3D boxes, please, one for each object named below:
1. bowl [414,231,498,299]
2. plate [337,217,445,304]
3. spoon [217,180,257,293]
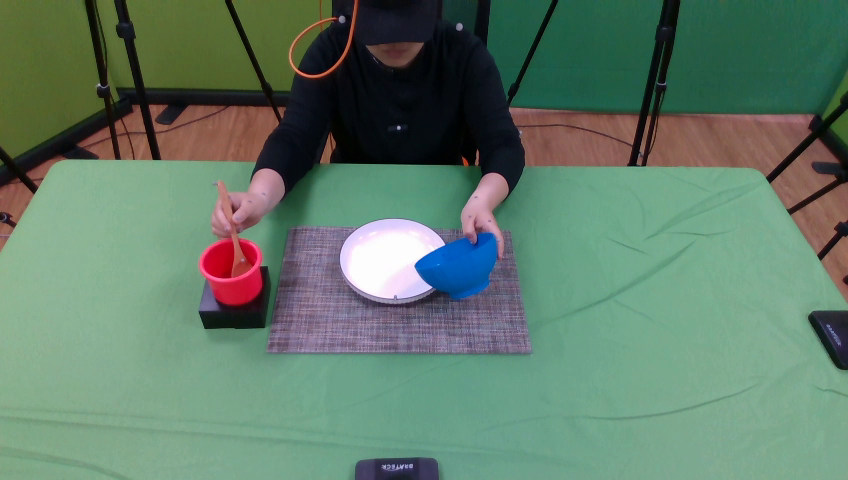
[{"bbox_3d":[0.066,0.050,1.041,0.151,0.077,0.151,-22,10,4],"label":"bowl"},{"bbox_3d":[-0.058,0.042,1.137,0.208,0.039,0.206,2,46,-2],"label":"plate"},{"bbox_3d":[-0.317,-0.006,1.014,0.042,0.194,0.021,-13,9,-18],"label":"spoon"}]
